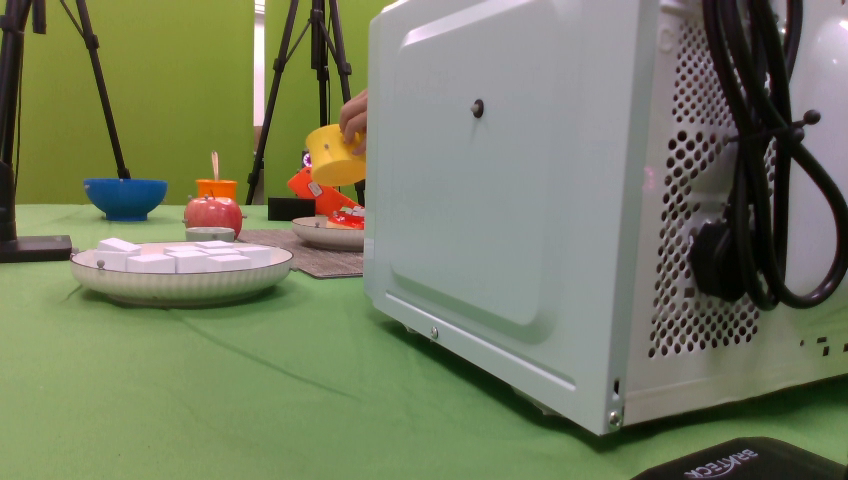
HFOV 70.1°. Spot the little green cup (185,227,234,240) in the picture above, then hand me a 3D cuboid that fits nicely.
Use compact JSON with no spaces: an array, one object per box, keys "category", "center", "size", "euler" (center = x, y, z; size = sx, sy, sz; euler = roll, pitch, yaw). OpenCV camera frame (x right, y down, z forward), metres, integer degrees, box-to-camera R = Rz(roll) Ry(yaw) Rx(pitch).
[{"category":"little green cup","center":[-0.285,0.005,0.805],"size":[0.061,0.038,0.061],"euler":[3,8,0]}]

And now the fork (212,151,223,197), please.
[{"category":"fork","center":[-0.494,-0.143,1.442],"size":[0.028,0.018,0.206],"euler":[-1,52,-21]}]

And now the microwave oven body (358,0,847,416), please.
[{"category":"microwave oven body","center":[0.211,-0.047,0.474],"size":[0.444,0.260,0.324],"euler":[-1,7,-28]}]

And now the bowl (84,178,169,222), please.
[{"category":"bowl","center":[-0.584,-0.078,1.194],"size":[0.151,0.077,0.151],"euler":[3,8,0]}]

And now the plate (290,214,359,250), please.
[{"category":"plate","center":[-0.110,-0.014,0.973],"size":[0.209,0.038,0.209],"euler":[3,8,0]}]

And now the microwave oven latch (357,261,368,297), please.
[{"category":"microwave oven latch","center":[-0.019,0.033,0.530],"size":[0.079,0.029,0.030],"euler":[-1,7,-27]}]

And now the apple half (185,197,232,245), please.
[{"category":"apple half","center":[-0.337,-0.031,0.927],"size":[0.032,0.081,0.082],"euler":[13,12,37]}]

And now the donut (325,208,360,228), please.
[{"category":"donut","center":[-0.110,-0.025,0.974],"size":[0.099,0.048,0.099],"euler":[5,8,0]}]

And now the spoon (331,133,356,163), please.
[{"category":"spoon","center":[-0.161,-0.181,1.163],"size":[0.042,0.021,0.193],"euler":[0,27,-15]}]

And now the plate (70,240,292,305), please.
[{"category":"plate","center":[-0.242,0.031,0.618],"size":[0.208,0.039,0.207],"euler":[2,8,0]}]

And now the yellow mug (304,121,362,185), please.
[{"category":"yellow mug","center":[-0.133,-0.146,0.979],"size":[0.100,0.064,0.130],"euler":[1,-20,-37]}]

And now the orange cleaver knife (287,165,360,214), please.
[{"category":"orange cleaver knife","center":[-0.211,-0.092,1.382],"size":[0.212,0.077,0.012],"euler":[34,2,-15]}]

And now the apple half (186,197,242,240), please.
[{"category":"apple half","center":[-0.306,-0.026,0.905],"size":[0.053,0.074,0.081],"euler":[14,9,37]}]

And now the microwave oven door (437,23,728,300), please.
[{"category":"microwave oven door","center":[0.181,-0.072,0.621],"size":[0.358,0.243,0.039],"euler":[-2,8,-29]}]
